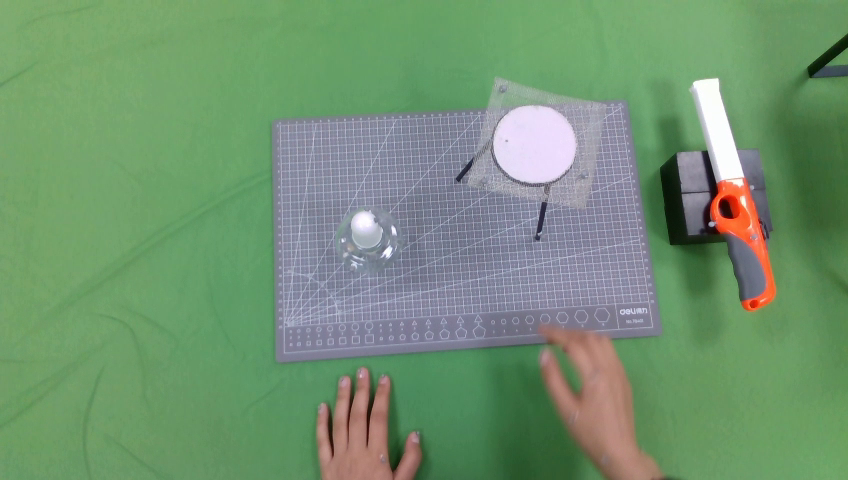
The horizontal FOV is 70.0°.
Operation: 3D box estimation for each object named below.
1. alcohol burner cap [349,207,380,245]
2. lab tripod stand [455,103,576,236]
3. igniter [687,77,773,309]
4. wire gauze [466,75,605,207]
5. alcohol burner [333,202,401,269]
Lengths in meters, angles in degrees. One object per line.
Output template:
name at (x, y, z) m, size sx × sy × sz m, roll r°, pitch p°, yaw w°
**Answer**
alcohol burner cap at (-0.064, -0.017, 0.636) m, size 0.034 × 0.048 × 0.033 m, roll 1°, pitch 70°, yaw -2°
lab tripod stand at (0.112, -0.089, 0.683) m, size 0.148 × 0.132 × 0.147 m, roll 0°, pitch 75°, yaw -1°
igniter at (0.349, -0.059, 0.692) m, size 0.057 × 0.025 × 0.275 m, roll -7°, pitch 76°, yaw -1°
wire gauze at (0.116, -0.102, 0.617) m, size 0.121 × 0.011 × 0.124 m, roll 15°, pitch 76°, yaw 2°
alcohol burner at (-0.064, -0.008, 0.670) m, size 0.078 × 0.119 × 0.077 m, roll 0°, pitch 79°, yaw -1°
